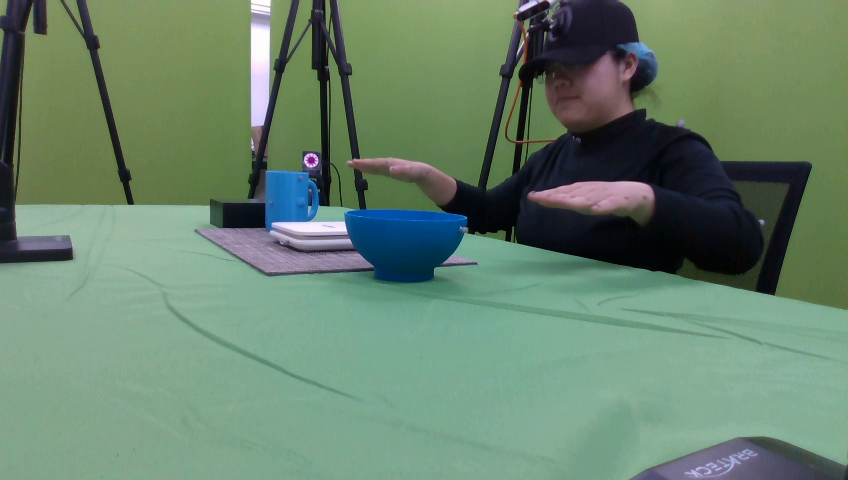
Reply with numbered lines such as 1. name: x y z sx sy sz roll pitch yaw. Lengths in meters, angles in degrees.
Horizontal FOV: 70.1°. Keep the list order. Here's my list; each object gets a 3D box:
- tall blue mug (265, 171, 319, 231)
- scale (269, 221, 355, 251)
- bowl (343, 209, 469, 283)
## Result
1. tall blue mug: -0.248 -0.073 1.121 0.078 0.108 0.107 3 8 8
2. scale: -0.130 -0.008 0.959 0.202 0.031 0.148 -1 9 -32
3. bowl: -0.023 0.007 0.731 0.151 0.077 0.151 3 7 0
